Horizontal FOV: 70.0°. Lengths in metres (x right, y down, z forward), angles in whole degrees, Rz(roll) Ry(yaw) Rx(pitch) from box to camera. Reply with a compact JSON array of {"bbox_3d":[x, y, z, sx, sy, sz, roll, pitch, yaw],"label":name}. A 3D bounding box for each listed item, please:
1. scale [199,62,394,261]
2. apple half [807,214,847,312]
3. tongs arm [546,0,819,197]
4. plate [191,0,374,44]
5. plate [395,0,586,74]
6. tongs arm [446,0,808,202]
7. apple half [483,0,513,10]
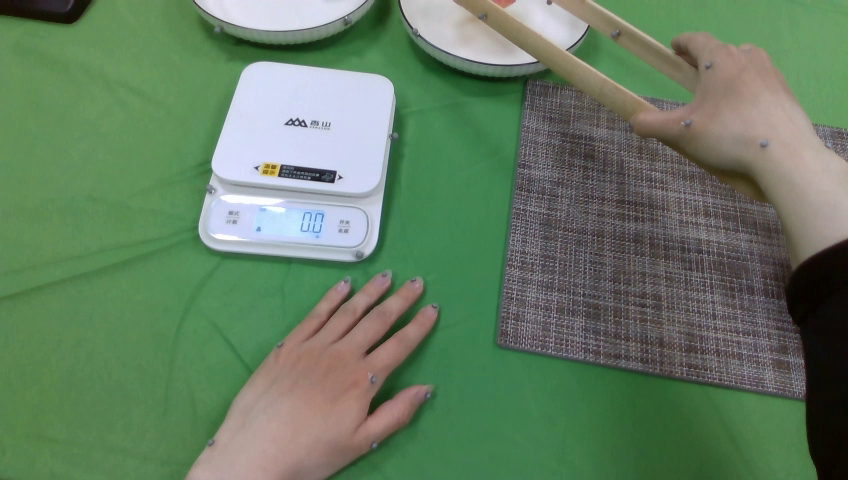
[{"bbox_3d":[-0.108,-0.076,0.542,0.149,0.032,0.199,5,59,0],"label":"scale"},{"bbox_3d":[0.342,0.025,0.481,0.053,0.075,0.080,-25,66,-13],"label":"apple half"},{"bbox_3d":[0.179,-0.168,0.543,0.051,0.027,0.381,-33,59,-20],"label":"tongs arm"},{"bbox_3d":[-0.151,-0.282,0.662,0.208,0.039,0.205,2,58,-2],"label":"plate"},{"bbox_3d":[0.073,-0.250,0.658,0.209,0.038,0.207,2,58,-3],"label":"plate"},{"bbox_3d":[0.143,-0.146,0.529,0.028,0.028,0.384,-33,59,-24],"label":"tongs arm"},{"bbox_3d":[0.059,-0.270,0.621,0.081,0.033,0.080,2,59,-2],"label":"apple half"}]
